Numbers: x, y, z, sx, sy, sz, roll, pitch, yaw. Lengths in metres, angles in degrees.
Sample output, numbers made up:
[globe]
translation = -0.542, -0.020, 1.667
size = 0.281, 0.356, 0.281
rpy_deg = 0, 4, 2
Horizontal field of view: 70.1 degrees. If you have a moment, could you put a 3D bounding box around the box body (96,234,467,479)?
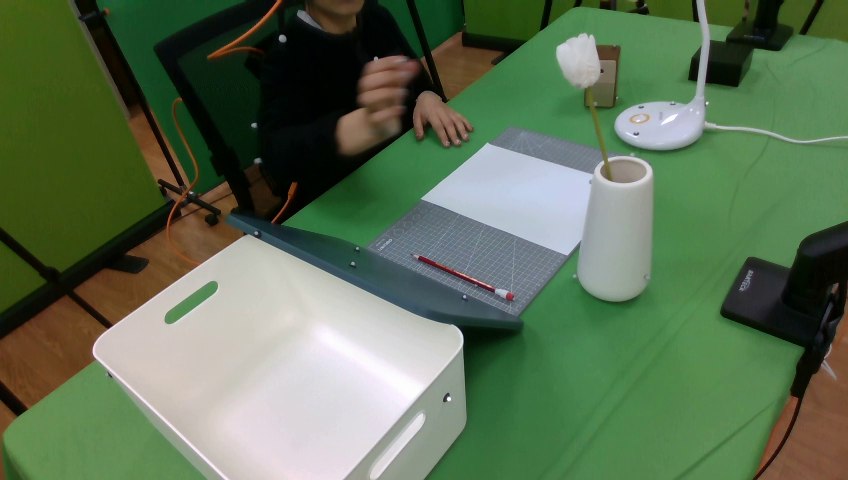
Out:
[box body]
translation = -0.155, 0.169, 0.707
size = 0.361, 0.161, 0.255
rpy_deg = 23, 49, 33

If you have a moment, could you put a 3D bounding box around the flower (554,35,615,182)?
[flower]
translation = 0.237, -0.083, 0.774
size = 0.044, 0.363, 0.038
rpy_deg = -22, 26, 7

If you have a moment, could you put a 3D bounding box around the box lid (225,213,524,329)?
[box lid]
translation = -0.066, 0.042, 0.816
size = 0.368, 0.265, 0.015
rpy_deg = 22, 93, 32

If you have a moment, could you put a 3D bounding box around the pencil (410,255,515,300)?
[pencil]
translation = 0.054, 0.054, 0.918
size = 0.192, 0.012, 0.012
rpy_deg = 21, 48, 33

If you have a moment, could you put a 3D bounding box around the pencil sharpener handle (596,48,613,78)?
[pencil sharpener handle]
translation = 0.383, -0.378, 1.276
size = 0.036, 0.068, 0.030
rpy_deg = 3, 41, 22

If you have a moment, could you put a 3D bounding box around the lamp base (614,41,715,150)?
[lamp base]
translation = 0.449, -0.277, 1.106
size = 0.179, 0.181, 0.160
rpy_deg = 1, 41, 9

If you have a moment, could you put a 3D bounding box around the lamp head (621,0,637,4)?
[lamp head]
translation = 0.319, -0.453, 0.962
size = 0.113, 0.123, 0.112
rpy_deg = 20, 33, -13

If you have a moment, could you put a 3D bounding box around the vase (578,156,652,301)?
[vase]
translation = 0.261, -0.011, 0.812
size = 0.098, 0.201, 0.097
rpy_deg = -4, 40, 4

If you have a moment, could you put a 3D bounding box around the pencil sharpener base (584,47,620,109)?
[pencil sharpener base]
translation = 0.367, -0.336, 1.248
size = 0.061, 0.107, 0.076
rpy_deg = 6, 42, 19
